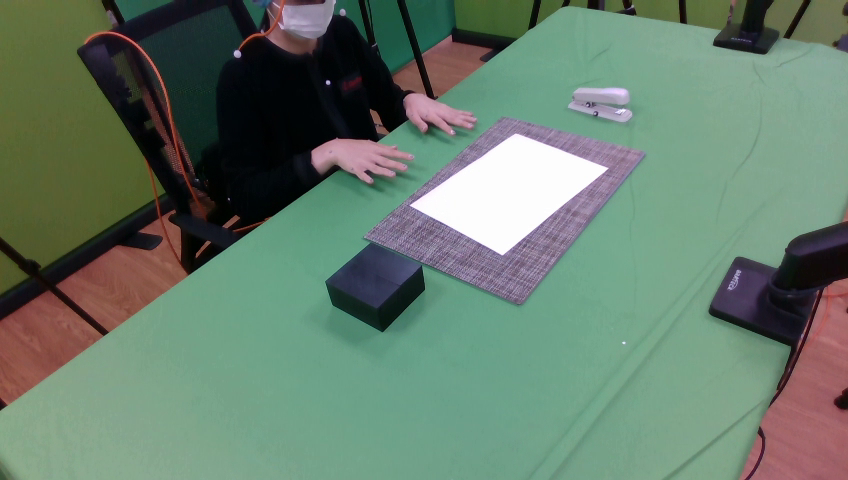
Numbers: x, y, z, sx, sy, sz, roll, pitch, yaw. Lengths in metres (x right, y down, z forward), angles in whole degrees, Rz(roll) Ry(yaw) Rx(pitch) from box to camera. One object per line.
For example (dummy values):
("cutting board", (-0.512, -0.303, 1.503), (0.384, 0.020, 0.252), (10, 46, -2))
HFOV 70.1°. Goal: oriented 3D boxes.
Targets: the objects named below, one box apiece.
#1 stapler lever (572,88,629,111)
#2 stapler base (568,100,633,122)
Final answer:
("stapler lever", (0.357, -0.292, 1.222), (0.117, 0.040, 0.027), (25, 49, 33))
("stapler base", (0.361, -0.273, 1.237), (0.129, 0.024, 0.041), (24, 48, 34))
